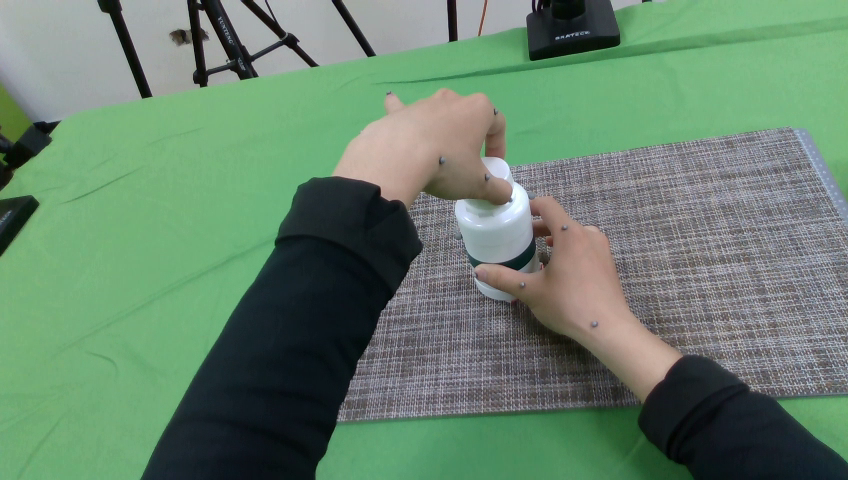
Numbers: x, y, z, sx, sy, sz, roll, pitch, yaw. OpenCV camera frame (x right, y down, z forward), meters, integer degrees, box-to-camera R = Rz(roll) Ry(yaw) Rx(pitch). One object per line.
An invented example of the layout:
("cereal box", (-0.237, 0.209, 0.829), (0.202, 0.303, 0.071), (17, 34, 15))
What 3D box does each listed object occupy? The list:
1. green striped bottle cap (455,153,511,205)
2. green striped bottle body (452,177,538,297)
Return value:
("green striped bottle cap", (0.047, -0.050, 0.487), (0.044, 0.020, 0.044), (-7, 46, 8))
("green striped bottle body", (0.062, -0.009, 0.528), (0.063, 0.120, 0.062), (-10, 45, 10))
